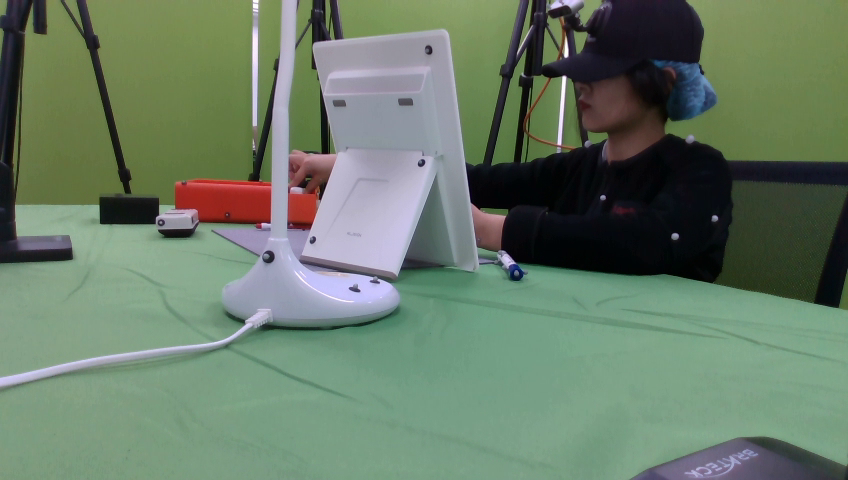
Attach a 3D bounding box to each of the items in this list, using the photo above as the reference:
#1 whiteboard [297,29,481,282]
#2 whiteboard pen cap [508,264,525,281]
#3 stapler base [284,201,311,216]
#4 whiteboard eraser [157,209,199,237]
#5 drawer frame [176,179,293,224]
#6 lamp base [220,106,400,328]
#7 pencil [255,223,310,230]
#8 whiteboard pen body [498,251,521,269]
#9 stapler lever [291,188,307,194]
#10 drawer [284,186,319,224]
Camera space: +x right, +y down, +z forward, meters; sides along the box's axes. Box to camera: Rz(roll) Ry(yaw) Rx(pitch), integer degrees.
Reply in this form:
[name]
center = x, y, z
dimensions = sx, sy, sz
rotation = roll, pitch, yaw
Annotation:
[whiteboard]
center = -0.075, -0.082, 0.741
dimensions = 0.216, 0.305, 0.144
rotation = 9, 29, 37
[whiteboard pen cap]
center = 0.115, 0.039, 0.752
dimensions = 0.018, 0.018, 0.033
rotation = 2, 9, 0
[stapler base]
center = -0.273, -0.071, 1.318
dimensions = 0.041, 0.024, 0.130
rotation = 11, 6, -4
[whiteboard eraser]
center = -0.411, -0.029, 1.016
dimensions = 0.056, 0.042, 0.112
rotation = 2, 7, -16
[drawer frame]
center = -0.395, -0.086, 1.299
dimensions = 0.214, 0.082, 0.201
rotation = 1, 8, -9
[lamp base]
center = -0.101, -0.023, 0.531
dimensions = 0.160, 0.180, 0.179
rotation = 4, 10, 10
[pencil]
center = -0.216, -0.022, 1.134
dimensions = 0.195, 0.012, 0.012
rotation = 2, 7, -22
[whiteboard pen body]
center = 0.116, 0.032, 0.810
dimensions = 0.017, 0.017, 0.140
rotation = 2, 8, -1
[stapler lever]
center = -0.269, -0.096, 1.316
dimensions = 0.027, 0.040, 0.118
rotation = 11, 6, -4
[drawer]
center = -0.333, -0.082, 1.310
dimensions = 0.212, 0.073, 0.194
rotation = 1, 9, -9
